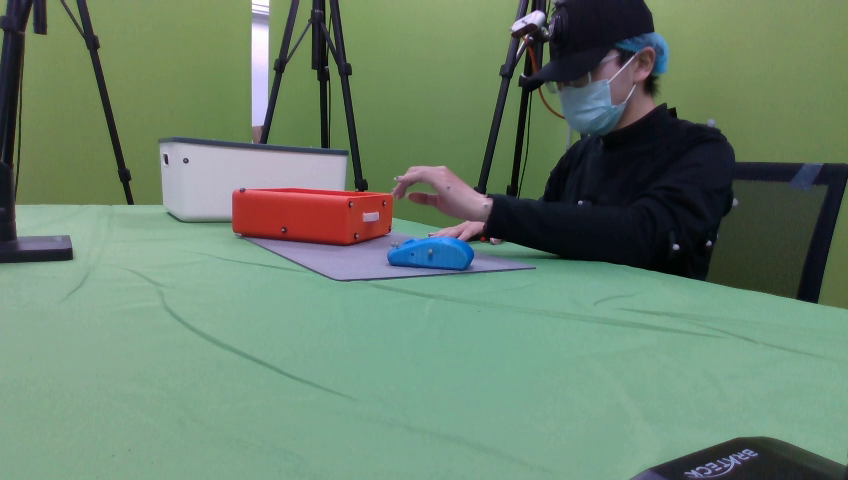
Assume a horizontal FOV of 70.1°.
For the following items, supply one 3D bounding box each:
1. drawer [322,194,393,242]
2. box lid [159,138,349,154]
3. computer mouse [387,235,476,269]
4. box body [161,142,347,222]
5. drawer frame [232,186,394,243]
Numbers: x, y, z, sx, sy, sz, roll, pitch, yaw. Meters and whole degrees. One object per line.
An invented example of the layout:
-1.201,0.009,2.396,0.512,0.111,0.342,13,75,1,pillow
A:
-0.184,-0.048,1.060,0.211,0.073,0.195,4,8,18,drawer
-0.376,-0.206,1.344,0.373,0.015,0.262,-1,8,-30,box lid
0.010,0.014,0.805,0.117,0.041,0.063,-1,8,10,computer mouse
-0.380,-0.132,1.352,0.366,0.160,0.253,-2,8,-30,box body
-0.186,-0.049,1.060,0.213,0.082,0.202,4,8,17,drawer frame
